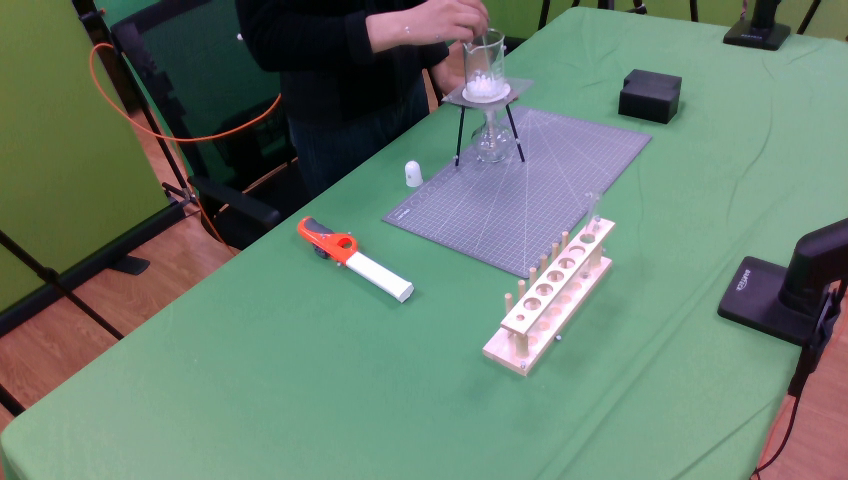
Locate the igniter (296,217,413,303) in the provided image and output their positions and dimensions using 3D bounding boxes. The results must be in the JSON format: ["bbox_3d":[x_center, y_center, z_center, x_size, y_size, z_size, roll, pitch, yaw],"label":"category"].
[{"bbox_3d":[-0.121,0.025,0.970,0.274,0.025,0.057,30,63,37],"label":"igniter"}]

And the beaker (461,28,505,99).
[{"bbox_3d":[0.103,-0.303,1.051,0.073,0.101,0.084,19,48,29],"label":"beaker"}]

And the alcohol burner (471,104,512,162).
[{"bbox_3d":[0.125,-0.207,1.126,0.078,0.119,0.077,-5,43,5],"label":"alcohol burner"}]

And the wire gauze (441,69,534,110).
[{"bbox_3d":[0.114,-0.268,1.082,0.120,0.011,0.125,22,47,29],"label":"wire gauze"}]

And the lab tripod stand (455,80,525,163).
[{"bbox_3d":[0.120,-0.219,1.126,0.148,0.132,0.147,-4,40,4],"label":"lab tripod stand"}]

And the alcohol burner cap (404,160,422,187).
[{"bbox_3d":[-0.022,-0.125,1.118,0.034,0.048,0.033,-4,40,4],"label":"alcohol burner cap"}]

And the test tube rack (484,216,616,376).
[{"bbox_3d":[0.174,0.064,0.823,0.066,0.085,0.243,23,49,33],"label":"test tube rack"}]

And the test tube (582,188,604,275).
[{"bbox_3d":[0.229,-0.007,0.821,0.017,0.151,0.017,-3,42,3],"label":"test tube"}]

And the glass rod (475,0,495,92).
[{"bbox_3d":[0.100,-0.336,1.006,0.008,0.201,0.008,-10,40,9],"label":"glass rod"}]
